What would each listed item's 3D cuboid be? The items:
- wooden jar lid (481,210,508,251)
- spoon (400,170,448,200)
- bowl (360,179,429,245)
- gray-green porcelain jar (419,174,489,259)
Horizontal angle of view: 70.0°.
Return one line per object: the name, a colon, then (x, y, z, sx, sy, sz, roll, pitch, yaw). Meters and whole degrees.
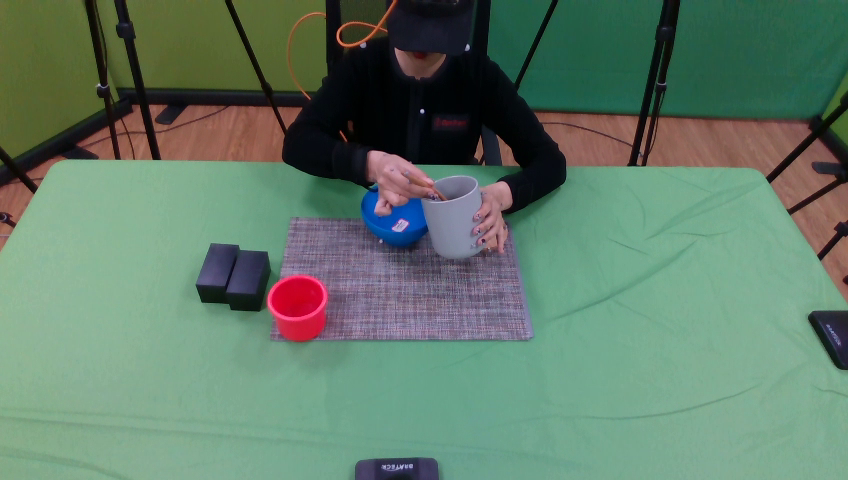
wooden jar lid: (0.115, -0.018, 1.220, 0.108, 0.021, 0.107, 3, 47, -3)
spoon: (0.022, -0.078, 1.053, 0.041, 0.195, 0.021, 26, 84, 46)
bowl: (-0.049, -0.042, 1.190, 0.151, 0.077, 0.150, 2, 46, -2)
gray-green porcelain jar: (0.057, -0.038, 1.083, 0.106, 0.127, 0.105, -12, 29, 7)
